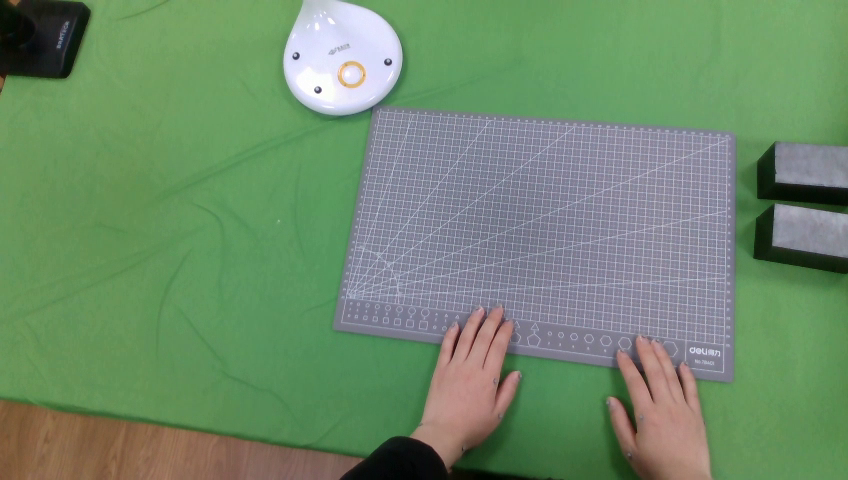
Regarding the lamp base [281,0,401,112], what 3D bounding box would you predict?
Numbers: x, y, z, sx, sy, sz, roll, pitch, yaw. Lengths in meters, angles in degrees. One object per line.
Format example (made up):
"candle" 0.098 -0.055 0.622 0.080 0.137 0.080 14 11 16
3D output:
"lamp base" -0.126 -0.274 0.737 0.160 0.181 0.178 -34 70 -4
